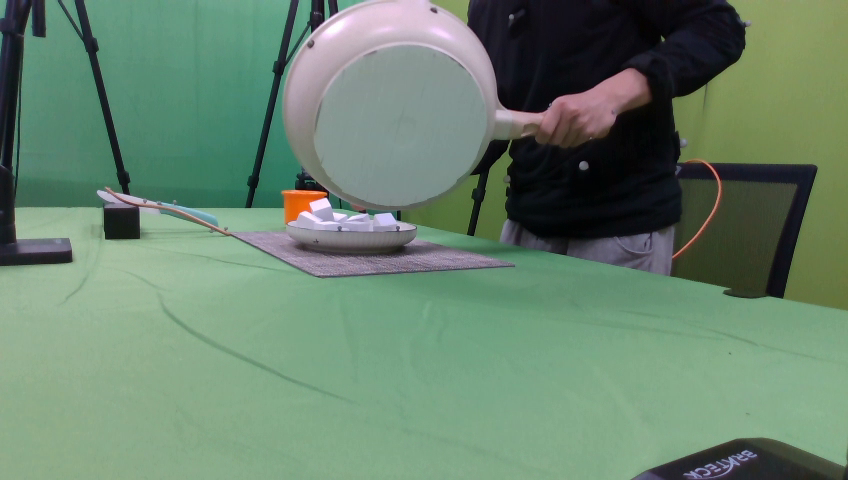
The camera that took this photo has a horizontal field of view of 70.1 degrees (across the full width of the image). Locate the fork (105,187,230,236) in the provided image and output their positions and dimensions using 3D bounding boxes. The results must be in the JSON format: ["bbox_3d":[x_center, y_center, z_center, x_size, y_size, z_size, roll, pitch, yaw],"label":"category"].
[{"bbox_3d":[-0.428,-0.047,1.020,0.208,0.018,0.028,19,-8,-26],"label":"fork"}]

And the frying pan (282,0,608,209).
[{"bbox_3d":[0.059,-0.166,0.835,0.490,0.306,0.102,-5,39,-25],"label":"frying pan"}]

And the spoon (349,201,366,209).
[{"bbox_3d":[-0.094,-0.141,0.998,0.042,0.193,0.021,16,-24,-22],"label":"spoon"}]

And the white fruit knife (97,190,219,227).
[{"bbox_3d":[-0.468,-0.056,1.079,0.208,0.027,0.016,15,-2,-29],"label":"white fruit knife"}]

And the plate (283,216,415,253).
[{"bbox_3d":[-0.119,-0.009,0.968,0.208,0.039,0.207,3,7,0],"label":"plate"}]
